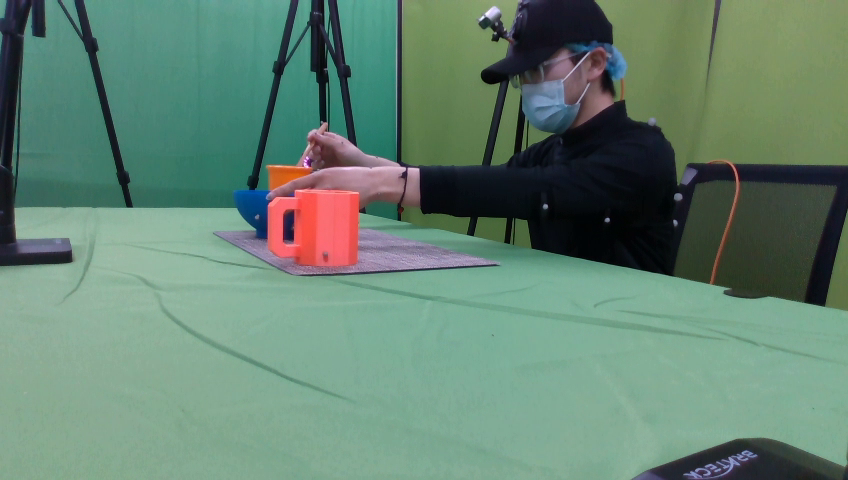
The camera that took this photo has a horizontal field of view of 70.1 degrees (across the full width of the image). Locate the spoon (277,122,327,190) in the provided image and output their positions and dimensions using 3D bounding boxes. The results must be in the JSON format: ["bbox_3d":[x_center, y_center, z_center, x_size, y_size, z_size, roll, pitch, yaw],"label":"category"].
[{"bbox_3d":[-0.243,-0.174,1.240,0.041,0.193,0.022,17,-25,16],"label":"spoon"}]

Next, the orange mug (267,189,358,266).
[{"bbox_3d":[-0.145,-0.019,0.797,0.127,0.100,0.083,2,6,-37],"label":"orange mug"}]

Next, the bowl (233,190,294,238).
[{"bbox_3d":[-0.253,-0.046,1.052,0.151,0.077,0.151,2,6,0],"label":"bowl"}]
